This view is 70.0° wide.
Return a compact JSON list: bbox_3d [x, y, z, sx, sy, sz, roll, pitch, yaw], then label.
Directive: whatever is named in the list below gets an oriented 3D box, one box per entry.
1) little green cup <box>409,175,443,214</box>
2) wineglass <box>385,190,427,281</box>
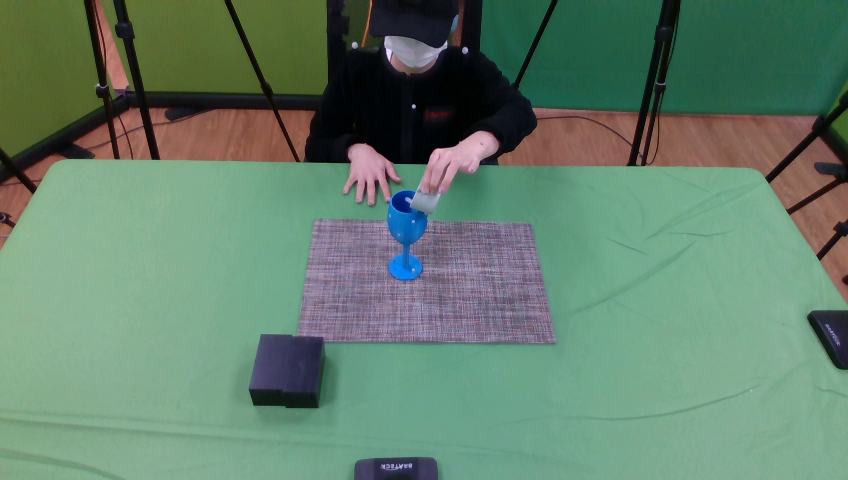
[{"bbox_3d":[0.004,-0.074,1.001,0.038,0.062,0.061,24,47,-1],"label":"little green cup"},{"bbox_3d":[-0.034,-0.006,1.091,0.074,0.173,0.073,2,46,-2],"label":"wineglass"}]
